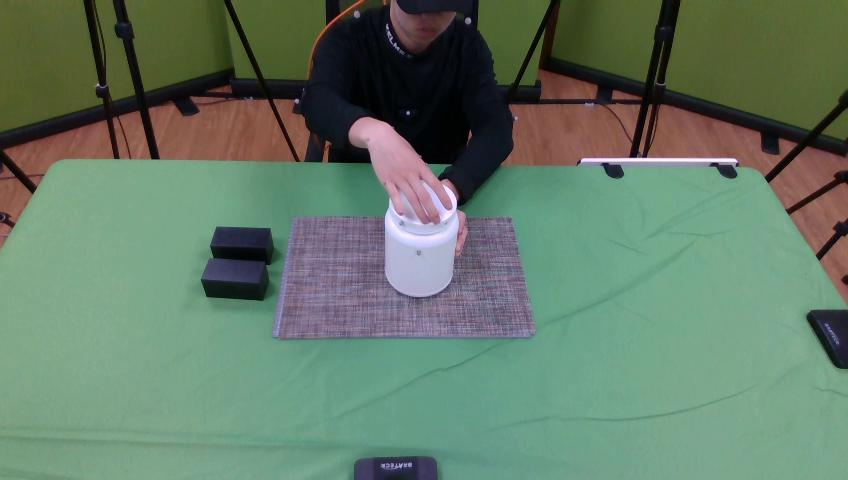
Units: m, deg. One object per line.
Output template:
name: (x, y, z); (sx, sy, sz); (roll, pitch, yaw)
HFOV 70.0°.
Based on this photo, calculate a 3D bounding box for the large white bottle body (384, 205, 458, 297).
large white bottle body: (-0.007, -0.002, 1.082); (0.131, 0.185, 0.130); (2, 46, -2)

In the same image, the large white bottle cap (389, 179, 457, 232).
large white bottle cap: (-0.002, -0.060, 1.021); (0.115, 0.018, 0.114); (2, 47, -2)
